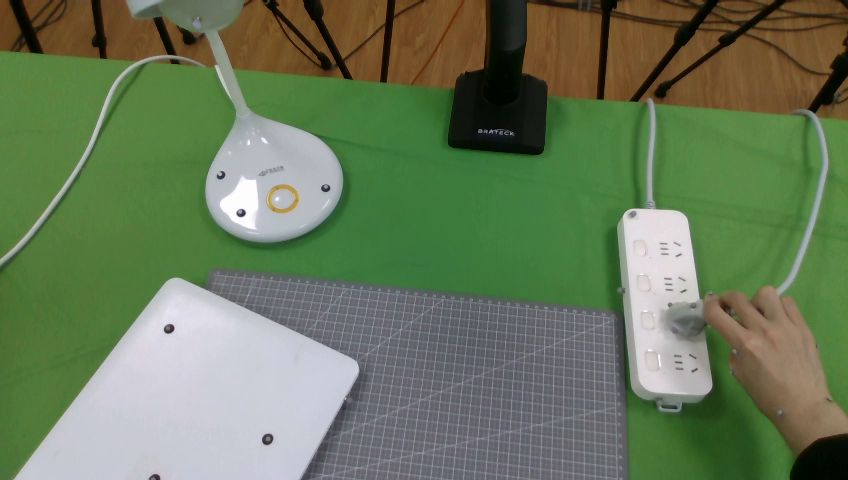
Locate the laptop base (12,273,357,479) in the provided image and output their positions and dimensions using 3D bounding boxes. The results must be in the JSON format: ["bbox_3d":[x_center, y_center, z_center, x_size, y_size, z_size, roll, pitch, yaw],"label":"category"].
[{"bbox_3d":[-0.245,0.217,0.562,0.235,0.023,0.352,24,64,11],"label":"laptop base"}]

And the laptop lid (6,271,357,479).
[{"bbox_3d":[-0.243,0.211,0.551,0.241,0.013,0.355,25,64,12],"label":"laptop lid"}]

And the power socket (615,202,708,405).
[{"bbox_3d":[0.244,0.057,0.633,0.072,0.033,0.225,4,61,2],"label":"power socket"}]

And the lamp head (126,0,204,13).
[{"bbox_3d":[-0.158,-0.220,0.390,0.112,0.111,0.123,-22,106,-11],"label":"lamp head"}]

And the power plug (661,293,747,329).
[{"bbox_3d":[0.271,0.076,0.597,0.072,0.053,0.035,16,61,6],"label":"power plug"}]

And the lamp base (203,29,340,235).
[{"bbox_3d":[-0.189,-0.122,0.656,0.161,0.182,0.177,-29,61,-15],"label":"lamp base"}]
